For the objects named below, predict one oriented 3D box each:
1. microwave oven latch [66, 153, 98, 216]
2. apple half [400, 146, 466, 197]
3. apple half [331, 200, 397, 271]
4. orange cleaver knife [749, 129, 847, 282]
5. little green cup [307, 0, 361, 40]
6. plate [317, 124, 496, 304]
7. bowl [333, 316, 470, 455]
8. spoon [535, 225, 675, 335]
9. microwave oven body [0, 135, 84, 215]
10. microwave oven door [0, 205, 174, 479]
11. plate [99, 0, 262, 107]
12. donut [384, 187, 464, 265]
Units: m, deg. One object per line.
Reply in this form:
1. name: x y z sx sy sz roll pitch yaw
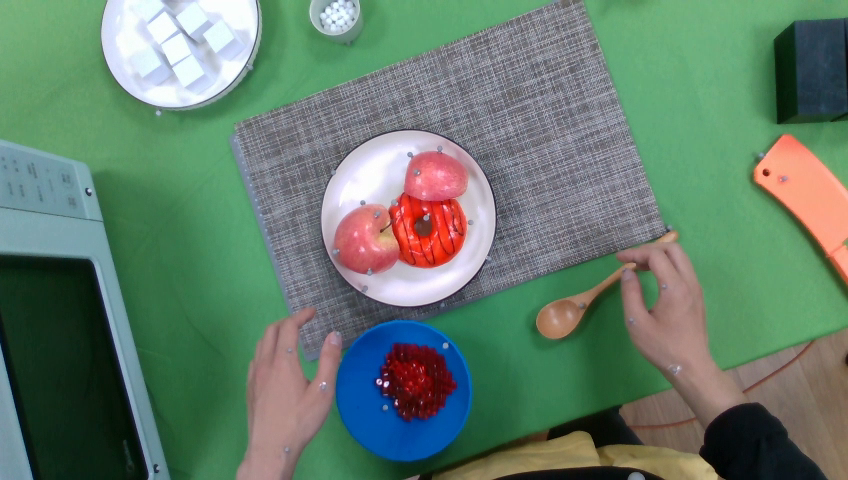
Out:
1. microwave oven latch: -0.430 -0.066 0.746 0.030 0.029 0.079 -16 87 5
2. apple half: 0.012 -0.084 0.683 0.081 0.033 0.080 0 47 0
3. apple half: -0.075 -0.003 0.685 0.074 0.053 0.080 -20 82 47
4. orange cleaver knife: 0.445 -0.028 0.668 0.077 0.012 0.210 -35 83 -1
5. little green cup: -0.106 -0.274 0.734 0.061 0.039 0.061 0 88 7
6. plate: -0.020 -0.030 0.711 0.209 0.038 0.209 0 88 7
7. bowl: -0.020 0.158 0.688 0.151 0.077 0.151 0 88 7
8. spoon: 0.209 0.044 0.692 0.194 0.022 0.041 -37 69 4
9. microwave oven body: -0.531 0.142 0.653 0.326 0.260 0.441 -17 86 5
10. microwave oven door: -0.380 0.139 0.630 0.039 0.244 0.355 -18 86 6
11. plate: -0.299 -0.266 0.757 0.207 0.039 0.207 0 88 7
12. donut: -0.003 -0.019 0.697 0.099 0.048 0.099 0 90 6
